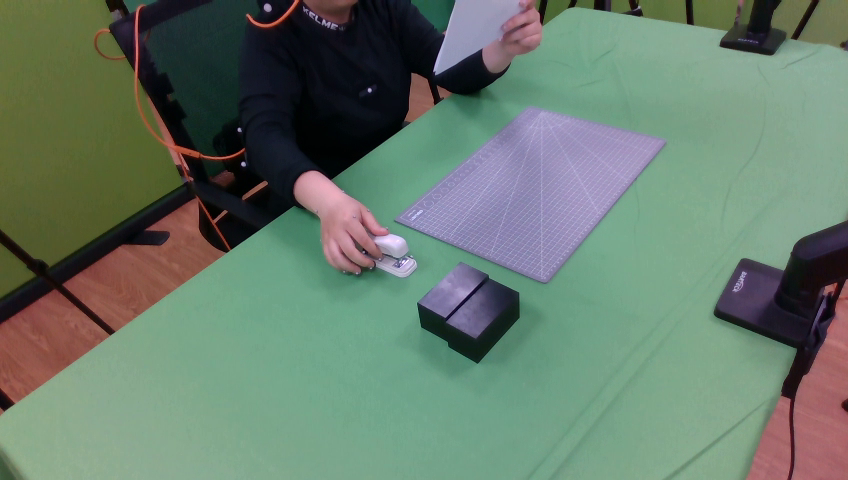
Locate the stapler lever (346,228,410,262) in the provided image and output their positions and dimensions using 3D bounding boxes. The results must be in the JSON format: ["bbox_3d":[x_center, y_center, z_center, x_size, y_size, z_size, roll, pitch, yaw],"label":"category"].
[{"bbox_3d":[-0.074,0.001,0.950,0.117,0.040,0.027,21,47,31],"label":"stapler lever"}]

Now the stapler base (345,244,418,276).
[{"bbox_3d":[-0.069,0.020,0.965,0.129,0.024,0.041,20,46,31],"label":"stapler base"}]
